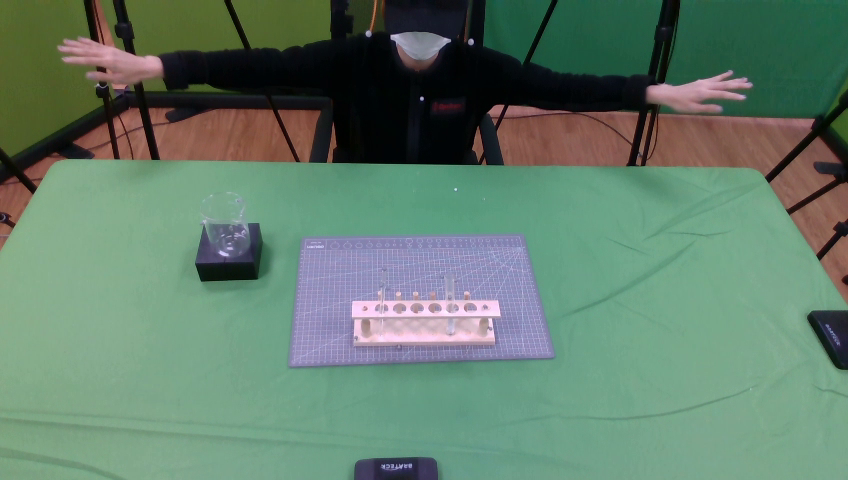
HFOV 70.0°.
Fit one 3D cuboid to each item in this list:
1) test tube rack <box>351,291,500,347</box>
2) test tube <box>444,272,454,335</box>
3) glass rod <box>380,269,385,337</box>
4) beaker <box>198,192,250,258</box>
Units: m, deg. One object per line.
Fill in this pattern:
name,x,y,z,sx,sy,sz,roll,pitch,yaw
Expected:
test tube rack,0.000,0.129,1.026,0.242,0.085,0.066,0,46,-4
test tube,0.041,0.106,0.982,0.017,0.151,0.017,-1,46,2
glass rod,-0.066,0.104,0.953,0.008,0.200,0.008,3,52,-3
beaker,-0.347,-0.023,1.069,0.083,0.101,0.074,33,52,23
